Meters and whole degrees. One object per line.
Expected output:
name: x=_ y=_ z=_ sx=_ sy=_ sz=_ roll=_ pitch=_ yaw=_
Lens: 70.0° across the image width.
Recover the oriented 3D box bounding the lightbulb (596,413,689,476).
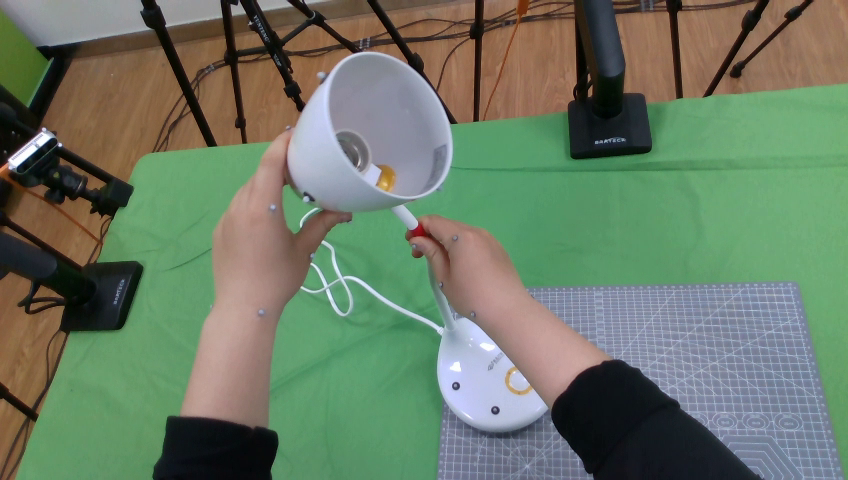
lightbulb: x=0.247 y=0.227 z=0.694 sx=0.107 sy=0.060 sz=0.059 roll=16 pitch=64 yaw=41

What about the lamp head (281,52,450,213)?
lamp head: x=-0.054 y=-0.067 z=0.475 sx=0.123 sy=0.113 sz=0.111 roll=-27 pitch=42 yaw=51

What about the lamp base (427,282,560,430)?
lamp base: x=0.066 y=0.122 z=0.726 sx=0.178 sy=0.182 sz=0.160 roll=22 pitch=66 yaw=28
